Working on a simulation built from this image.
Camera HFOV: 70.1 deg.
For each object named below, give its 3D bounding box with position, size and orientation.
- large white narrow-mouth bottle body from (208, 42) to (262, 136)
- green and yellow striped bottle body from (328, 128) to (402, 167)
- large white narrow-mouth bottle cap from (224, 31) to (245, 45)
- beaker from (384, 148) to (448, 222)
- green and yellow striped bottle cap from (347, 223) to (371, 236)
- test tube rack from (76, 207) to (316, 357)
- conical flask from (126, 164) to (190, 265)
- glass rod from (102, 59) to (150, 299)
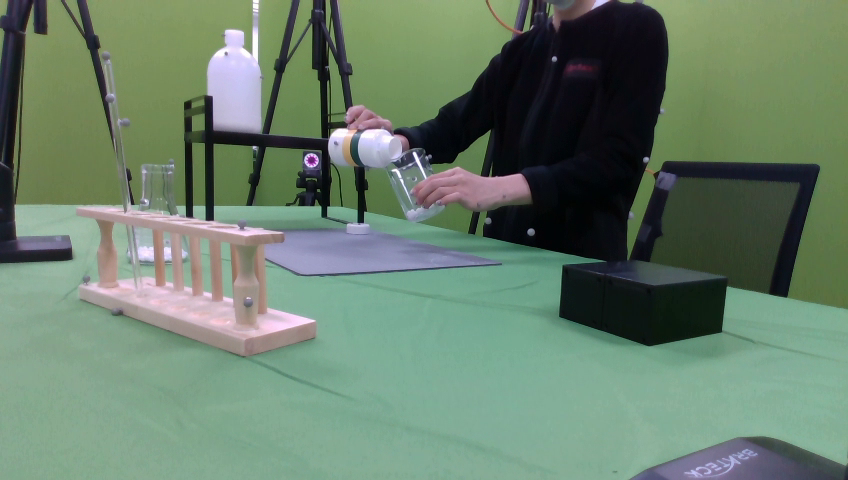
[{"bbox_3d":[-0.368,-0.304,1.181,0.102,0.194,0.101,2,9,0],"label":"large white narrow-mouth bottle body"},{"bbox_3d":[-0.095,-0.153,0.999,0.119,0.063,0.063,8,9,33],"label":"green and yellow striped bottle body"},{"bbox_3d":[-0.365,-0.389,1.166,0.038,0.024,0.037,2,9,0],"label":"large white narrow-mouth bottle cap"},{"bbox_3d":[-0.011,-0.086,0.955,0.074,0.100,0.084,-27,-9,11],"label":"beaker"},{"bbox_3d":[-0.122,-0.021,1.132,0.045,0.020,0.045,0,8,0],"label":"green and yellow striped bottle cap"},{"bbox_3d":[-0.196,0.023,0.500,0.241,0.085,0.067,8,9,36],"label":"test tube rack"},{"bbox_3d":[-0.332,-0.033,0.756,0.075,0.122,0.075,2,8,0],"label":"conical flask"},{"bbox_3d":[-0.243,-0.045,0.496,0.008,0.199,0.008,-4,13,1],"label":"glass rod"}]
